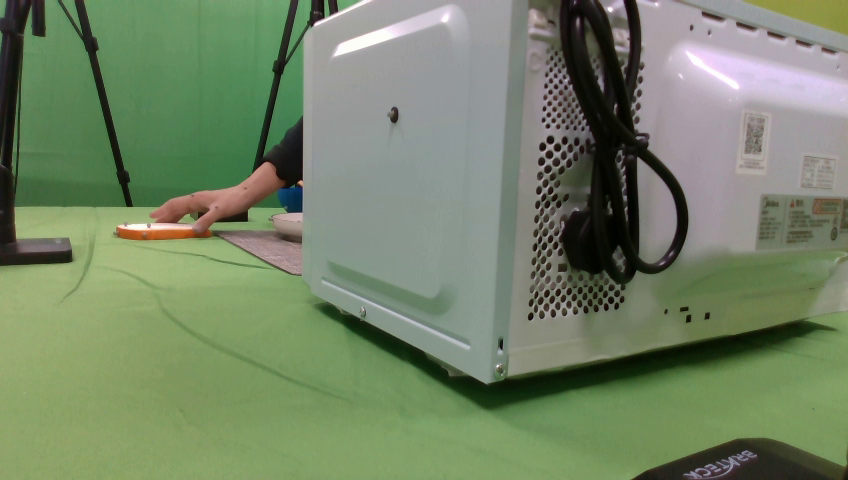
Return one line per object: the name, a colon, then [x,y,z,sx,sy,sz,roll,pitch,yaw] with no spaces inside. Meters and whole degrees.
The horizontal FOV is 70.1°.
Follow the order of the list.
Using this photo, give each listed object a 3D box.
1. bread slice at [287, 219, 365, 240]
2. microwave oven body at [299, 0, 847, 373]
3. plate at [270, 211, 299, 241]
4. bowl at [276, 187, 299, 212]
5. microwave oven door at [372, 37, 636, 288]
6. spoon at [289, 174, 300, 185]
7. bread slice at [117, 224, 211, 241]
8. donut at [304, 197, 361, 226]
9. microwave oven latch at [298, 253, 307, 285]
bread slice: [-0.170,-0.020,1.056,0.134,0.018,0.107,4,7,-6]
microwave oven body: [0.151,-0.055,0.542,0.444,0.260,0.324,-2,7,-33]
plate: [-0.162,-0.022,1.057,0.208,0.039,0.207,2,7,0]
bowl: [-0.241,-0.073,1.302,0.151,0.077,0.151,1,7,0]
microwave oven door: [0.110,-0.080,0.686,0.358,0.243,0.039,-2,9,-33]
spoon: [-0.260,-0.111,1.343,0.042,0.021,0.192,-9,34,-29]
bread slice: [-0.443,-0.015,1.022,0.132,0.019,0.104,-3,8,-45]
donut: [-0.159,-0.050,1.055,0.099,0.048,0.099,3,8,0]
microwave oven latch: [-0.081,0.027,0.582,0.079,0.029,0.030,-2,7,-32]
